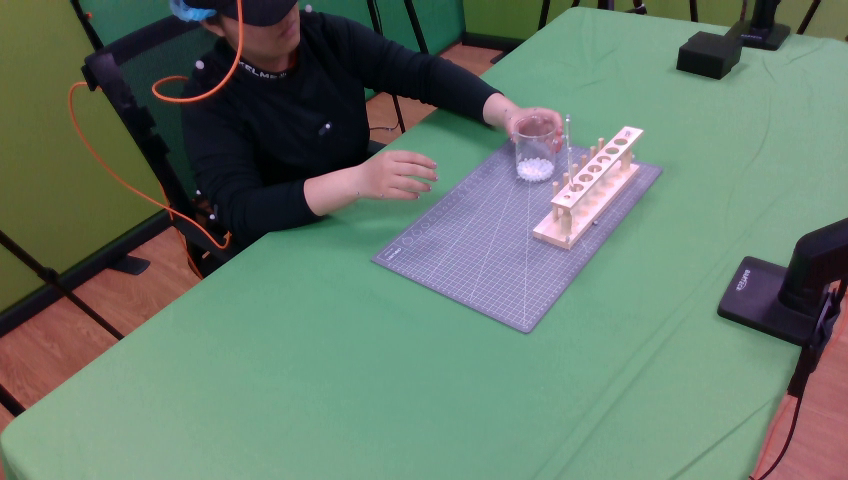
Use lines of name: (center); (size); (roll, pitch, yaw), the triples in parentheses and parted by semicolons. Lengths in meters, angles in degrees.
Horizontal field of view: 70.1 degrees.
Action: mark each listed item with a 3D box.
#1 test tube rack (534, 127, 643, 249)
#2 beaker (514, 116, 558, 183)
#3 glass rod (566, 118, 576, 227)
test tube rack: (0.271, -0.094, 0.989); (0.066, 0.085, 0.243); (23, 50, 34)
beaker: (0.199, -0.161, 1.071); (0.073, 0.101, 0.084); (6, 42, 18)
glass rod: (0.218, -0.094, 0.895); (0.008, 0.201, 0.008); (-8, 41, 8)
